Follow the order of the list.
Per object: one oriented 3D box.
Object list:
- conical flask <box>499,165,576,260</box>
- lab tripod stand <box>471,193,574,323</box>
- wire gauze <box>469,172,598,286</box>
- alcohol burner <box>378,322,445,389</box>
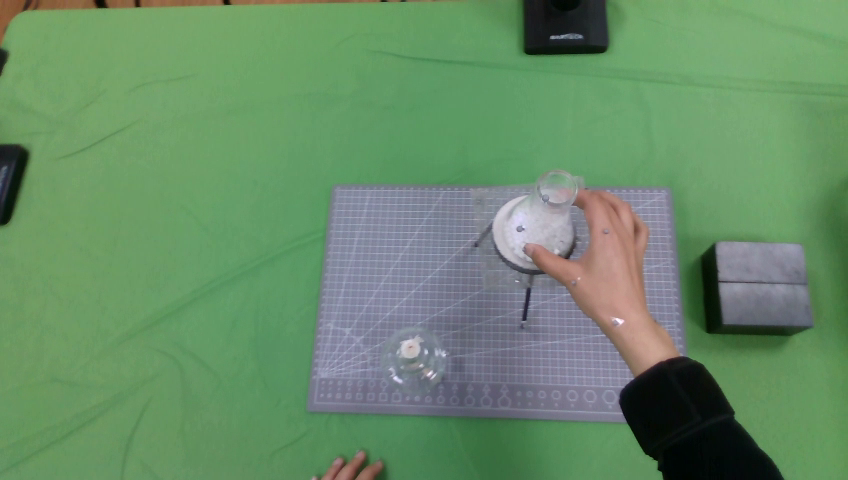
[{"bbox_3d":[0.115,-0.031,0.583,0.075,0.122,0.075,0,72,1],"label":"conical flask"},{"bbox_3d":[0.121,0.010,0.705,0.148,0.132,0.147,-1,68,3],"label":"lab tripod stand"},{"bbox_3d":[0.114,-0.011,0.642,0.125,0.011,0.120,-4,70,1],"label":"wire gauze"},{"bbox_3d":[-0.015,0.127,0.683,0.078,0.120,0.077,0,69,2],"label":"alcohol burner"}]
